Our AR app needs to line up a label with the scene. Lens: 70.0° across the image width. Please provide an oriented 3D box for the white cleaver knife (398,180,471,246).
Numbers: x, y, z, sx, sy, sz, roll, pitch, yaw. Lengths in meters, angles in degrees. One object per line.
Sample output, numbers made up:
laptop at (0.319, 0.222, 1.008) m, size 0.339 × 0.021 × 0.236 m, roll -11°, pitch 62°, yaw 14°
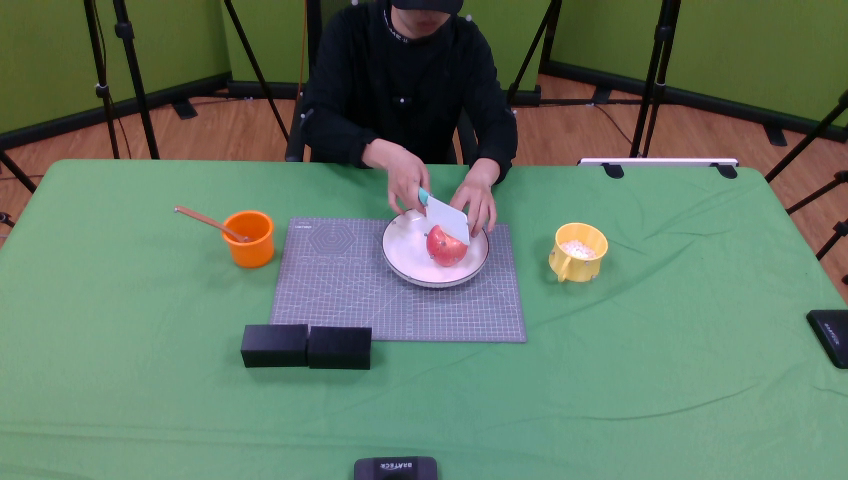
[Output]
white cleaver knife at (0.012, -0.055, 1.139) m, size 0.021 × 0.066 × 0.285 m, roll -12°, pitch 24°, yaw -22°

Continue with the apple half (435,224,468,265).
apple half at (0.054, 0.004, 1.145) m, size 0.053 × 0.075 × 0.080 m, roll -14°, pitch 47°, yaw -24°

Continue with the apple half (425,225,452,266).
apple half at (0.020, 0.016, 1.132) m, size 0.033 × 0.081 × 0.081 m, roll -15°, pitch 49°, yaw -22°

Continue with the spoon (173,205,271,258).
spoon at (-0.362, -0.017, 1.098) m, size 0.021 × 0.195 × 0.041 m, roll -33°, pitch 42°, yaw 26°

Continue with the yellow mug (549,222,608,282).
yellow mug at (0.287, 0.031, 1.159) m, size 0.099 × 0.064 × 0.130 m, roll 27°, pitch 51°, yaw 21°

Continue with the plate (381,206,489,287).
plate at (0.021, 0.015, 1.170) m, size 0.209 × 0.038 × 0.208 m, roll 2°, pitch 46°, yaw -2°
